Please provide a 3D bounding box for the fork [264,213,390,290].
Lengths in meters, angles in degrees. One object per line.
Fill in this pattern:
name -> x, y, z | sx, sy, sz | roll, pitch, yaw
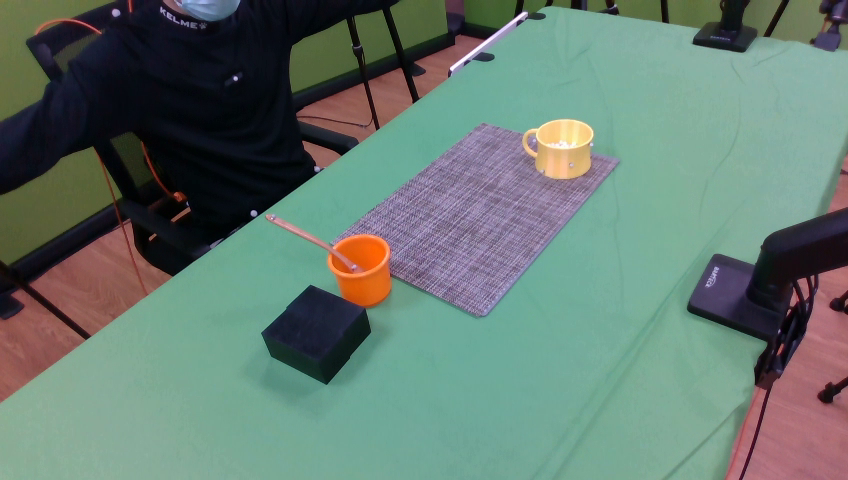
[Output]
fork -> -0.137, 0.018, 0.869 | 0.208, 0.018, 0.028 | 35, 38, -19

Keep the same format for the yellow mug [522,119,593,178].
yellow mug -> 0.237, -0.170, 1.092 | 0.130, 0.064, 0.100 | 17, 47, 27
